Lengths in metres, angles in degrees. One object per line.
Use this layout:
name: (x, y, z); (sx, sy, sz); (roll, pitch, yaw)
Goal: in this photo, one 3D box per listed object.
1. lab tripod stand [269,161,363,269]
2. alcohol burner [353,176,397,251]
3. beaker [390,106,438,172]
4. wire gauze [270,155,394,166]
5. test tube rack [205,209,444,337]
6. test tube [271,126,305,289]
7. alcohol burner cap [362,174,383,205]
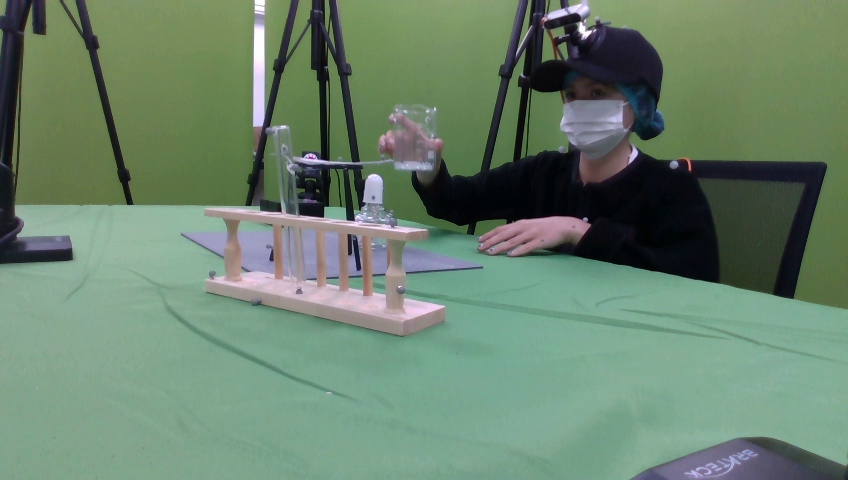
lab tripod stand: (-0.125, -0.036, 0.794); (0.148, 0.131, 0.148); (5, 7, 0)
alcohol burner: (-0.082, -0.043, 0.950); (0.078, 0.119, 0.078); (1, 8, 0)
beaker: (-0.014, -0.161, 0.973); (0.074, 0.100, 0.083); (-4, 7, -44)
wire gauze: (-0.121, -0.102, 0.785); (0.122, 0.011, 0.124); (-3, 10, -38)
test tube rack: (-0.100, 0.021, 0.565); (0.241, 0.085, 0.067); (7, 9, 32)
test tube: (-0.124, -0.028, 0.554); (0.017, 0.150, 0.017); (-5, 7, 1)
alcohol burner cap: (-0.079, -0.078, 0.944); (0.034, 0.048, 0.034); (4, 8, 0)
